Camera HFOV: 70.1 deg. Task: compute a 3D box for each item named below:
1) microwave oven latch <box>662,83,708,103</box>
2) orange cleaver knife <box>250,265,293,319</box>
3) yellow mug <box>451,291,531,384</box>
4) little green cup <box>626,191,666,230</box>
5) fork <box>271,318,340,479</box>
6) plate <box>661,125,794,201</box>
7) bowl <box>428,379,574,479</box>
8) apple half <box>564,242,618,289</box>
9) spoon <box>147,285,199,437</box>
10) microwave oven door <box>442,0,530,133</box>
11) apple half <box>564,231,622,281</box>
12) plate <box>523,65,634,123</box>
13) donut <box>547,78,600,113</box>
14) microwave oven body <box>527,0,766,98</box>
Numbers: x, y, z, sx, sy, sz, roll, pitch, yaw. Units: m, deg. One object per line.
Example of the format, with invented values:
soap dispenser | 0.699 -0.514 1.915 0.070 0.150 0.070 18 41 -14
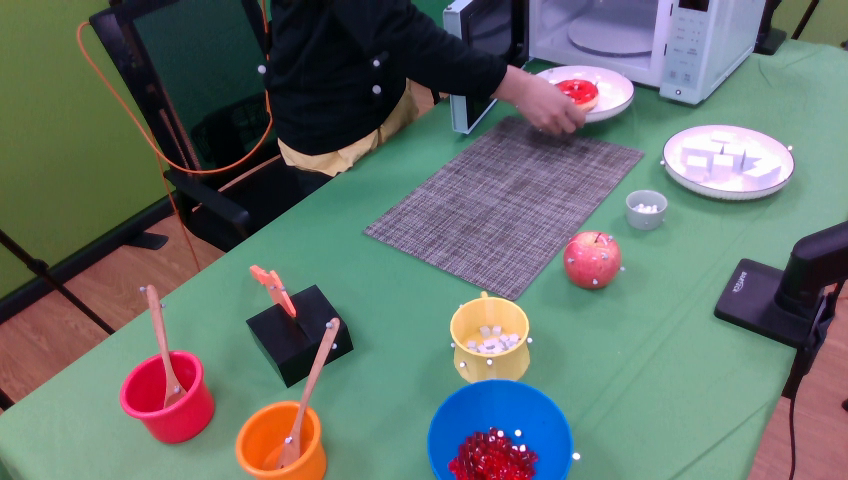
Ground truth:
microwave oven latch | 0.519 -0.297 1.204 0.030 0.029 0.078 -37 47 -29
orange cleaver knife | -0.221 0.073 0.876 0.012 0.077 0.210 -24 12 -22
yellow mug | 0.085 0.120 0.786 0.100 0.064 0.130 -7 39 1
little green cup | 0.352 -0.046 0.963 0.061 0.039 0.061 -4 40 4
fork | -0.132 0.186 0.676 0.028 0.019 0.207 18 90 28
plate | 0.514 -0.128 1.035 0.207 0.039 0.206 -4 40 4
bowl | 0.082 0.233 0.644 0.151 0.077 0.150 -4 39 4
apple half | 0.229 0.044 0.848 0.081 0.081 0.033 16 41 26
spoon | -0.318 0.148 0.754 0.042 0.021 0.193 -14 85 -11
microwave oven door | 0.139 -0.414 1.242 0.039 0.245 0.356 15 45 24
apple half | 0.248 0.021 0.874 0.080 0.075 0.053 13 40 28
plate | 0.296 -0.278 1.169 0.209 0.038 0.208 -3 39 3
donut | 0.284 -0.276 1.150 0.099 0.048 0.098 -5 38 4
microwave oven body | 0.472 -0.513 1.317 0.438 0.261 0.327 25 51 34
